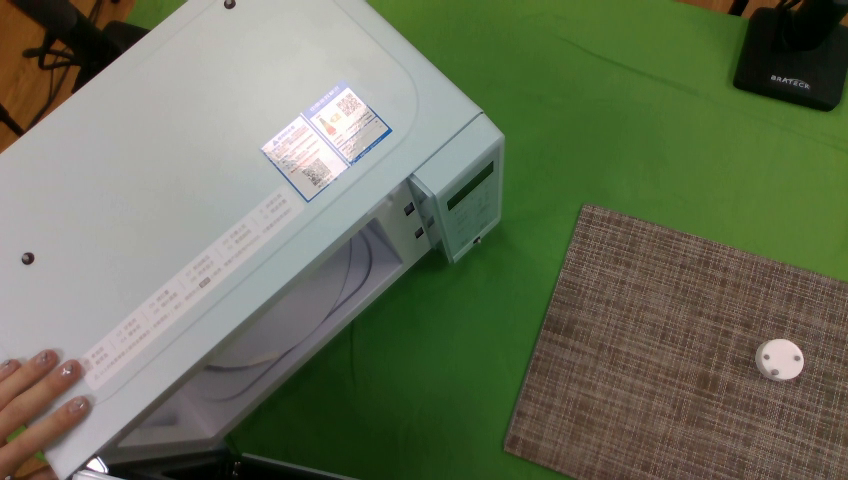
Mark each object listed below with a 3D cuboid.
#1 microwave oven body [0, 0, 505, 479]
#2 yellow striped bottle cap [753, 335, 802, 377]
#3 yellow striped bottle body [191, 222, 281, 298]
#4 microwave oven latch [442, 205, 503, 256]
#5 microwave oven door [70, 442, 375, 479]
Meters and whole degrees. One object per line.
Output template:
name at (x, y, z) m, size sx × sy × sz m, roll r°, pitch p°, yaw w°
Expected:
microwave oven body at (-0.185, -0.028, 0.624) m, size 0.441 × 0.261 × 0.324 m, roll -42°, pitch 76°, yaw -5°
yellow striped bottle cap at (0.381, 0.124, 0.652) m, size 0.044 × 0.019 × 0.044 m, roll -2°, pitch 75°, yaw 7°
yellow striped bottle body at (-0.193, 0.021, 0.620) m, size 0.063 × 0.121 × 0.062 m, roll 0°, pitch 77°, yaw 2°
microwave oven latch at (0.055, -0.018, 0.697) m, size 0.079 × 0.029 × 0.030 m, roll -41°, pitch 75°, yaw -4°
microwave oven door at (-0.082, 0.242, 0.537) m, size 0.355 × 0.245 × 0.039 m, roll 10°, pitch 76°, yaw 8°
